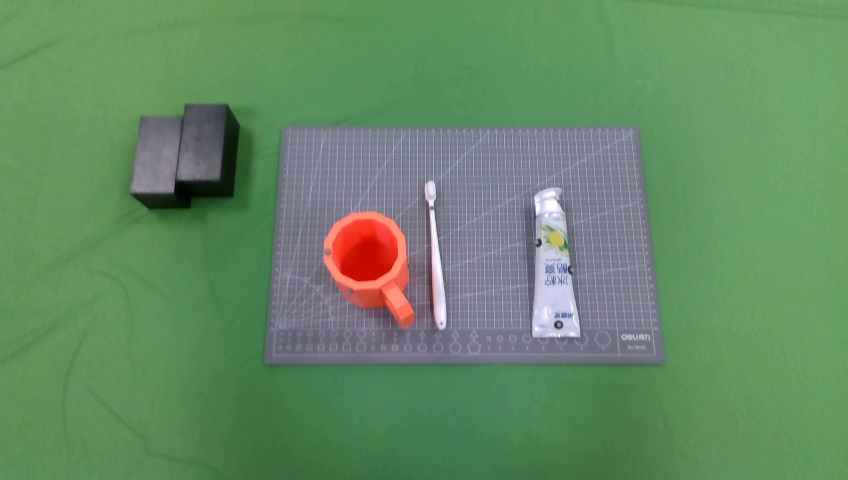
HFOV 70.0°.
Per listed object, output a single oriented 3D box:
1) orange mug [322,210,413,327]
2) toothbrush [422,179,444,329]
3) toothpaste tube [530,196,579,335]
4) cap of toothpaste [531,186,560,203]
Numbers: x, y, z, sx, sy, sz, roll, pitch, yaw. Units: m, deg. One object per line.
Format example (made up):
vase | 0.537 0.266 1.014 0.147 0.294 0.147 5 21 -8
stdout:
orange mug | -0.053 0.036 0.660 0.083 0.101 0.125 -33 72 -10
toothbrush | 0.011 0.013 0.710 0.014 0.017 0.181 0 74 -16
toothpaste tube | 0.146 0.027 0.703 0.055 0.035 0.164 -3 77 6
cap of toothpaste | 0.145 -0.052 0.720 0.037 0.037 0.011 -12 71 -4
